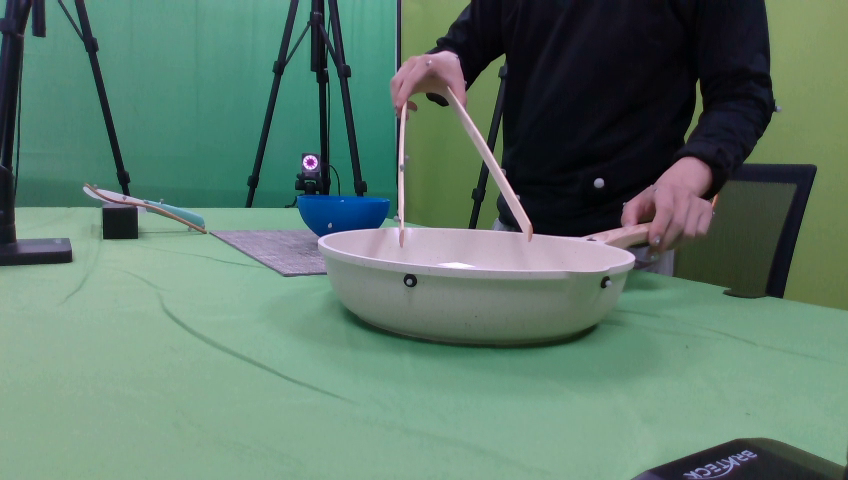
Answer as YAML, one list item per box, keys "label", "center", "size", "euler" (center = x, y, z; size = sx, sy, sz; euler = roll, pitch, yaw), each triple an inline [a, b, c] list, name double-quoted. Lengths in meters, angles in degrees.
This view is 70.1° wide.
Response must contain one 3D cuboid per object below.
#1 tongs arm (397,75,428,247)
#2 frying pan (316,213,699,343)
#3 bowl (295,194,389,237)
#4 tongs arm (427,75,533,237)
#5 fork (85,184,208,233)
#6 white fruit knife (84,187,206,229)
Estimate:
- label: "tongs arm"
  center: [-0.010, -0.121, 0.770]
  size: [0.051, 0.026, 0.384]
  euler: [-3, 38, -1]
- label: "frying pan"
  center: [0.133, 0.013, 0.629]
  size: [0.490, 0.102, 0.305]
  euler: [-12, 14, -30]
- label: "bowl"
  center: [-0.132, -0.032, 0.980]
  size: [0.151, 0.077, 0.151]
  euler: [2, 7, 0]
- label: "tongs arm"
  center: [0.063, -0.126, 0.776]
  size: [0.028, 0.028, 0.386]
  euler: [-13, 40, -7]
- label: "fork"
  center: [-0.462, -0.051, 1.020]
  size: [0.208, 0.018, 0.028]
  euler: [22, -8, -37]
- label: "white fruit knife"
  center: [-0.488, -0.059, 1.071]
  size: [0.208, 0.027, 0.016]
  euler: [17, 4, -33]
